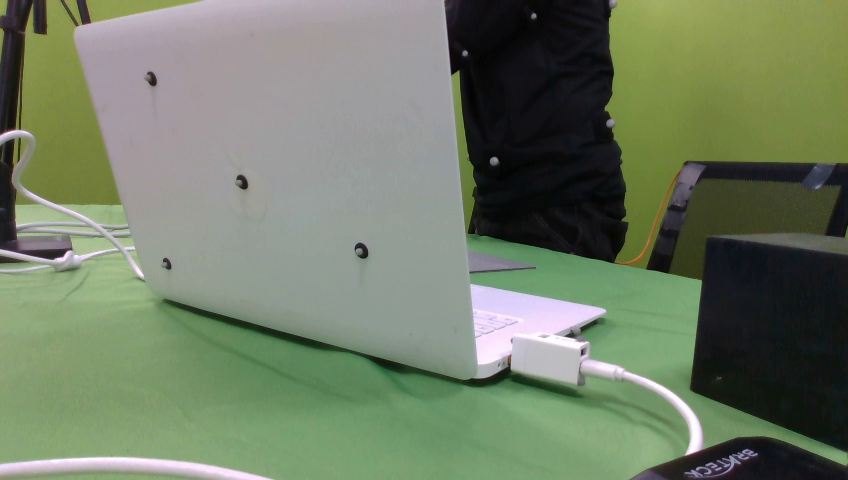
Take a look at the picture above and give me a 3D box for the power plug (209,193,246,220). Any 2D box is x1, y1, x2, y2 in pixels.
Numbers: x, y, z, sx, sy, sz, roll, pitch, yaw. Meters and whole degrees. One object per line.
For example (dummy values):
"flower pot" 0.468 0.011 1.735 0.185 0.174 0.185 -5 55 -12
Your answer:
"power plug" -0.389 -0.067 1.206 0.072 0.052 0.035 4 8 27

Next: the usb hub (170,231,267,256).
"usb hub" -0.291 0.004 0.862 0.049 0.025 0.126 10 11 42

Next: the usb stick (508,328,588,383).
"usb stick" 0.072 0.072 0.383 0.059 0.027 0.021 2 2 34

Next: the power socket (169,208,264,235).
"power socket" -0.381 -0.038 1.129 0.072 0.032 0.227 4 8 16

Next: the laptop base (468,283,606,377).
"laptop base" -0.042 0.057 0.554 0.352 0.023 0.237 7 6 35

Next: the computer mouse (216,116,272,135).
"computer mouse" -0.402 -0.258 1.353 0.118 0.041 0.062 -6 16 -35

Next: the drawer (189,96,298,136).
"drawer" -0.414 -0.276 1.376 0.195 0.073 0.210 -3 9 -31

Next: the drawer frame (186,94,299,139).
"drawer frame" -0.417 -0.277 1.378 0.203 0.082 0.212 -3 8 -32

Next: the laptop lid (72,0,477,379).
"laptop lid" -0.125 -0.042 0.418 0.355 0.241 0.013 9 25 34
